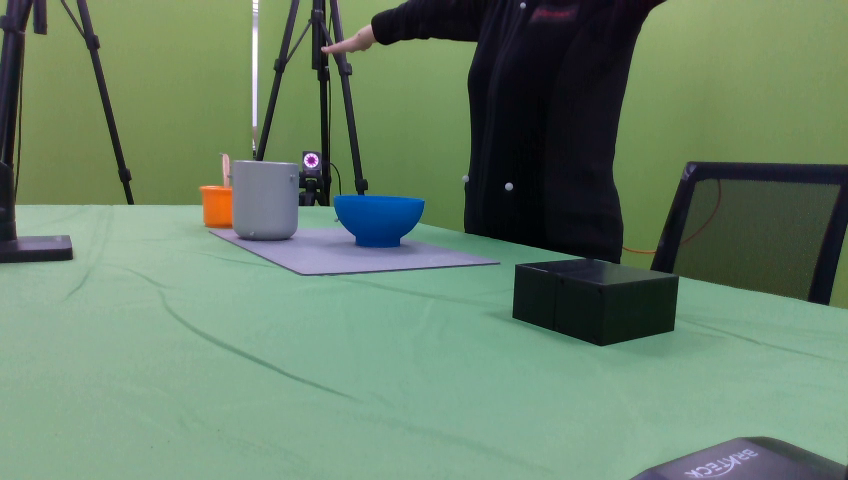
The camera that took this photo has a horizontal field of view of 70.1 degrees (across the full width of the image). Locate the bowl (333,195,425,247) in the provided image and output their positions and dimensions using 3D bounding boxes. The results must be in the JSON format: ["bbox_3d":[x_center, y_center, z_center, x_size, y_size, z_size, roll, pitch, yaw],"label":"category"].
[{"bbox_3d":[-0.074,-0.031,0.987,0.151,0.077,0.151,2,7,0],"label":"bowl"}]

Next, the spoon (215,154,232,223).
[{"bbox_3d":[-0.389,-0.104,1.193,0.042,0.193,0.021,2,-37,-19],"label":"spoon"}]

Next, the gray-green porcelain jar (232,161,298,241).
[{"bbox_3d":[-0.262,-0.065,0.999,0.106,0.126,0.106,3,7,0],"label":"gray-green porcelain jar"}]
